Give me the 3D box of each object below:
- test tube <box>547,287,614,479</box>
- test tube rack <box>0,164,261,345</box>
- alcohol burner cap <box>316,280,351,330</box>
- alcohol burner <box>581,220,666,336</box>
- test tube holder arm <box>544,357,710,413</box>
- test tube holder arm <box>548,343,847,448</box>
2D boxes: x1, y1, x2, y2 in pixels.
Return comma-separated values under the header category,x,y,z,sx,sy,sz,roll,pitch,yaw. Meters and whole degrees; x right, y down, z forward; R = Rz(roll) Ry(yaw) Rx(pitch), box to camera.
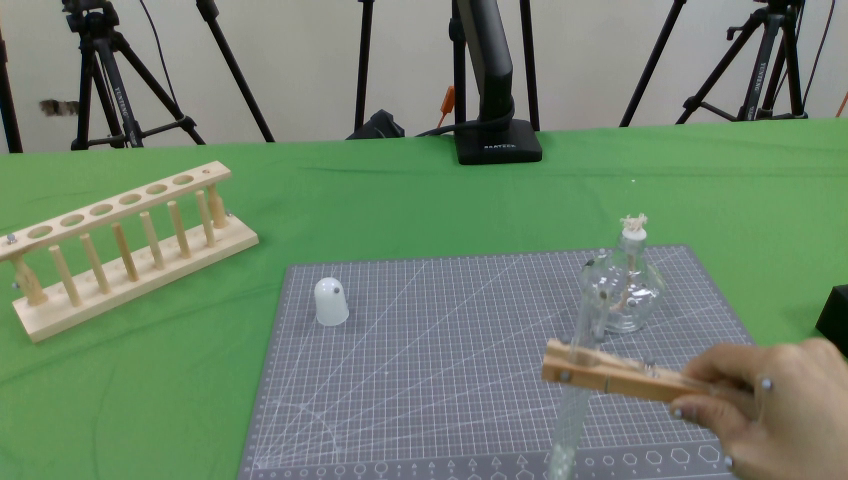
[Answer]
category,x,y,z,sx,sy,sz,roll,pitch,yaw
test tube,0.090,0.093,0.358,0.017,0.151,0.017,2,30,-1
test tube rack,-0.304,0.006,0.643,0.242,0.086,0.066,-28,42,-32
alcohol burner cap,-0.090,0.060,0.590,0.034,0.048,0.033,-1,36,1
alcohol burner,0.186,0.030,0.558,0.078,0.120,0.077,-1,37,1
test tube holder arm,0.111,0.081,0.337,0.087,0.015,0.010,8,34,13
test tube holder arm,0.155,0.085,0.329,0.177,0.015,0.013,12,36,19
